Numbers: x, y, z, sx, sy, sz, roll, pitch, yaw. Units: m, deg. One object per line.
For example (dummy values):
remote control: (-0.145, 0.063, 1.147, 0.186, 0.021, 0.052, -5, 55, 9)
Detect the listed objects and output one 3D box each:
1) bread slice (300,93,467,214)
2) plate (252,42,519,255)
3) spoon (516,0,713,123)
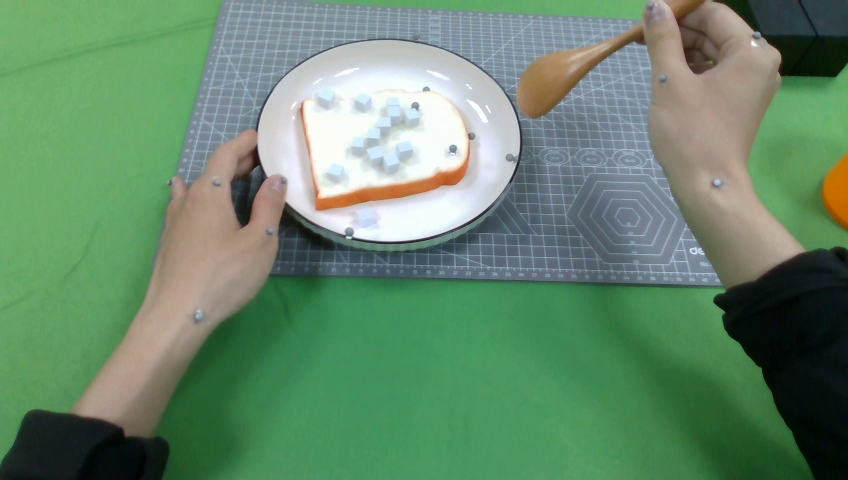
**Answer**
bread slice: (-0.032, -0.078, 0.492, 0.132, 0.019, 0.104, -11, 61, -9)
plate: (-0.029, -0.074, 0.487, 0.209, 0.038, 0.207, 2, 59, -3)
spoon: (0.136, -0.134, 0.397, 0.022, 0.193, 0.041, 8, 63, -49)
